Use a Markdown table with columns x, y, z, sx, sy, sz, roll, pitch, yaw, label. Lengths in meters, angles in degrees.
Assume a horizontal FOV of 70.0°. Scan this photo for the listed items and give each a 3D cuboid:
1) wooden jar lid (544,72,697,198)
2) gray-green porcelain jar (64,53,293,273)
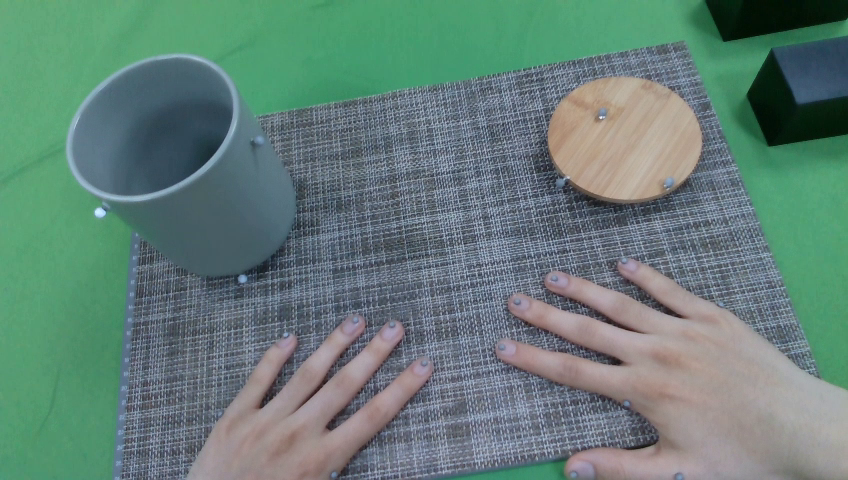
| x | y | z | sx | sy | sz | roll | pitch | yaw | label |
| --- | --- | --- | --- | --- | --- | --- | --- | --- | --- |
| 0.143 | -0.076 | 0.448 | 0.108 | 0.021 | 0.107 | -2 | 67 | 6 | wooden jar lid |
| -0.152 | -0.042 | 0.409 | 0.106 | 0.127 | 0.105 | -2 | 65 | 6 | gray-green porcelain jar |
